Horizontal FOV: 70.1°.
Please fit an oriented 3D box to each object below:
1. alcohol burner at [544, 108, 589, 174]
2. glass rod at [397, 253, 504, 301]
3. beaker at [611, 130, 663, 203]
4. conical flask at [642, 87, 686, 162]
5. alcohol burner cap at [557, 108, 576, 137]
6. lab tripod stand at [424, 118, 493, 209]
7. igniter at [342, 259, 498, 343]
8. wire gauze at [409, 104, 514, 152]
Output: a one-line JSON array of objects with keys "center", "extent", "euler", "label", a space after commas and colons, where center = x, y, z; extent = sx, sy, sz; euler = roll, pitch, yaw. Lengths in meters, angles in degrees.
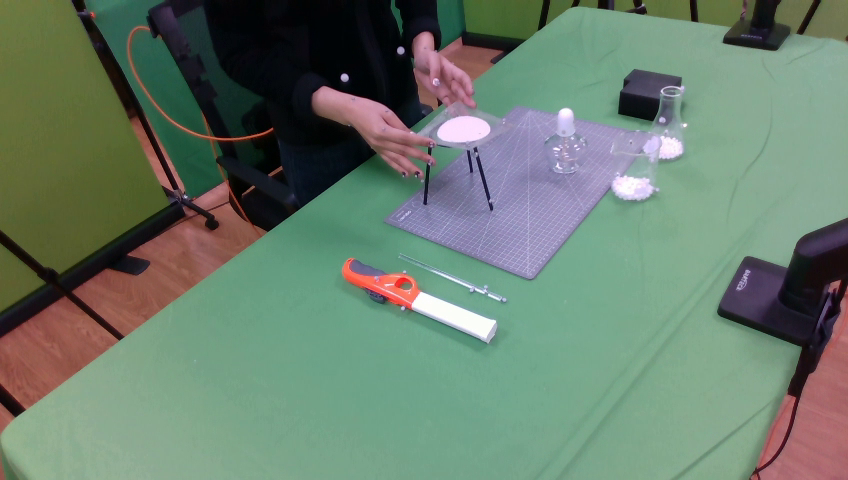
[{"center": [0.252, -0.178, 1.071], "extent": [0.078, 0.120, 0.077], "euler": [-7, 40, 6], "label": "alcohol burner"}, {"center": [0.036, 0.054, 0.922], "extent": [0.198, 0.008, 0.008], "euler": [22, 50, 31], "label": "glass rod"}, {"center": [0.346, -0.118, 0.998], "extent": [0.084, 0.101, 0.073], "euler": [-17, 40, -7], "label": "beaker"}, {"center": [0.429, -0.206, 1.067], "extent": [0.075, 0.122, 0.075], "euler": [-6, 40, 6], "label": "conical flask"}, {"center": [0.246, -0.205, 1.047], "extent": [0.034, 0.048, 0.033], "euler": [-8, 44, 8], "label": "alcohol burner cap"}, {"center": [0.061, -0.133, 1.038], "extent": [0.148, 0.132, 0.147], "euler": [-6, 38, 6], "label": "lab tripod stand"}, {"center": [-0.017, 0.084, 0.883], "extent": [0.274, 0.025, 0.057], "euler": [20, 59, 31], "label": "igniter"}, {"center": [0.060, -0.179, 0.973], "extent": [0.120, 0.011, 0.125], "euler": [25, 47, 33], "label": "wire gauze"}]
